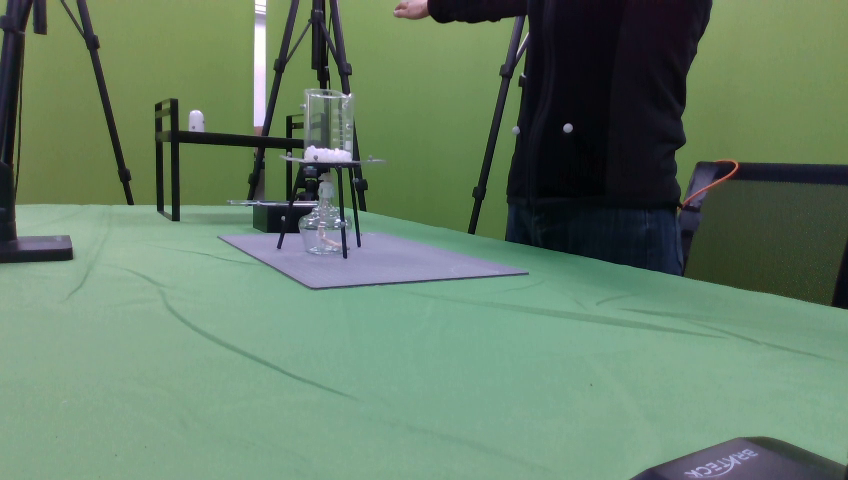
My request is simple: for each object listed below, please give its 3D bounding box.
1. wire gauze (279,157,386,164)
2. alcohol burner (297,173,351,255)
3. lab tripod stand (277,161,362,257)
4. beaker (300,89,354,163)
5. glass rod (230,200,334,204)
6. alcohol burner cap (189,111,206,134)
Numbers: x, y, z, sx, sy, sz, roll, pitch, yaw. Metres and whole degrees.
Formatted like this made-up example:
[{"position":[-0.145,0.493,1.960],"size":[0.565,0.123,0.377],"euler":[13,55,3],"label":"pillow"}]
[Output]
[{"position":[-0.134,-0.113,0.875],"size":[0.122,0.011,0.124],"euler":[-1,6,-30],"label":"wire gauze"},{"position":[-0.144,-0.038,0.879],"size":[0.078,0.119,0.078],"euler":[4,6,0],"label":"alcohol burner"},{"position":[-0.143,-0.049,0.884],"size":[0.148,0.131,0.148],"euler":[1,9,0],"label":"lab tripod stand"},{"position":[-0.137,-0.161,0.869],"size":[0.083,0.100,0.074],"euler":[9,10,42],"label":"beaker"},{"position":[-0.265,-0.071,1.144],"size":[0.201,0.008,0.008],"euler":[-1,8,-31],"label":"glass rod"},{"position":[-0.469,-0.244,1.252],"size":[0.034,0.048,0.034],"euler":[2,7,0],"label":"alcohol burner cap"}]
